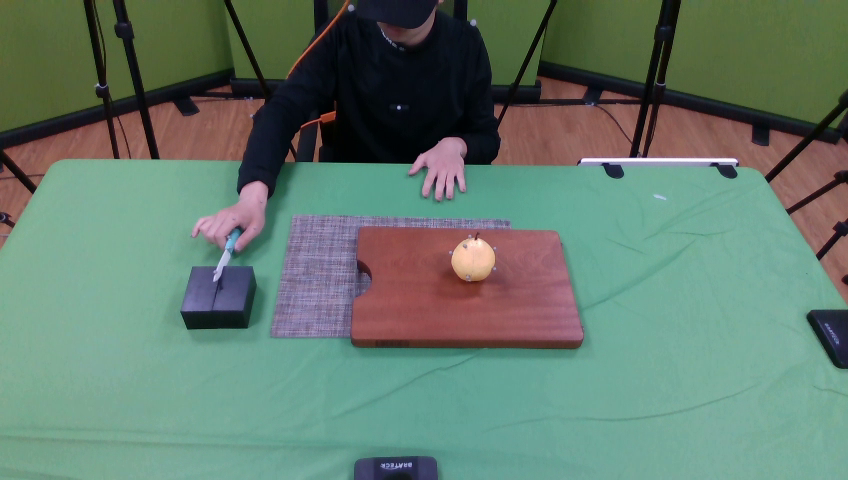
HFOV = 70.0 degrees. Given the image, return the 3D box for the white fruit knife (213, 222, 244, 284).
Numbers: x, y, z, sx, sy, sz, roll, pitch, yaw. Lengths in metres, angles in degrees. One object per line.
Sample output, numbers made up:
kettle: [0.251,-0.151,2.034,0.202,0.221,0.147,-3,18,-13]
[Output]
white fruit knife: [-0.358,0.019,1.110,0.016,0.027,0.206,-6,30,0]

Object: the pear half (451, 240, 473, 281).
pear half: [0.065,0.035,1.085,0.031,0.088,0.070,-11,51,-14]

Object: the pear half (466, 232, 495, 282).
pear half: [0.100,0.024,1.085,0.056,0.110,0.076,-11,51,-15]
